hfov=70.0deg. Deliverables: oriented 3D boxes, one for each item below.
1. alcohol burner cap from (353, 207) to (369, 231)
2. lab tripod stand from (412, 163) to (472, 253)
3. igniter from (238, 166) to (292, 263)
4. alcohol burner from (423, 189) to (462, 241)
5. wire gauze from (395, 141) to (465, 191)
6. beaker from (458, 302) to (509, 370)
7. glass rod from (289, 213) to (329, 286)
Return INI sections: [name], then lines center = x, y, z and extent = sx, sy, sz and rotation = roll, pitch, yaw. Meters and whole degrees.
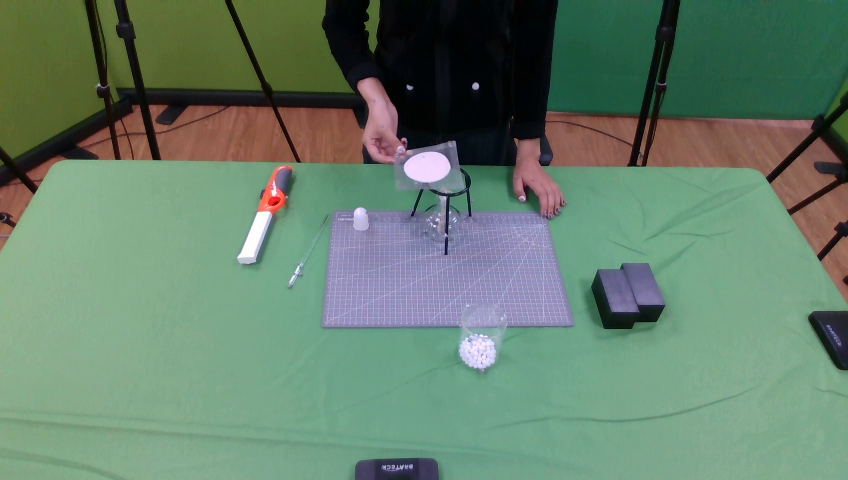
[alcohol burner cap]
center = -0.127, -0.046, 1.216
extent = 0.034, 0.048, 0.033
rotation = 2, 49, -3
[lab tripod stand]
center = 0.043, -0.070, 1.187
extent = 0.148, 0.132, 0.147
rotation = 3, 47, -3
[igniter]
center = -0.318, -0.060, 1.229
extent = 0.057, 0.025, 0.275
rotation = -2, 45, 10
[alcohol burner]
center = 0.036, -0.055, 1.187
extent = 0.078, 0.120, 0.077
rotation = 1, 48, -1
[wire gauze]
center = 0.009, -0.135, 1.121
extent = 0.125, 0.011, 0.120
rotation = -6, 48, 2
[beaker]
center = 0.092, 0.159, 0.999
extent = 0.083, 0.101, 0.074
rotation = 35, 53, 28
[glass rod]
center = -0.221, 0.014, 1.179
extent = 0.008, 0.008, 0.199
rotation = 12, 46, 9
